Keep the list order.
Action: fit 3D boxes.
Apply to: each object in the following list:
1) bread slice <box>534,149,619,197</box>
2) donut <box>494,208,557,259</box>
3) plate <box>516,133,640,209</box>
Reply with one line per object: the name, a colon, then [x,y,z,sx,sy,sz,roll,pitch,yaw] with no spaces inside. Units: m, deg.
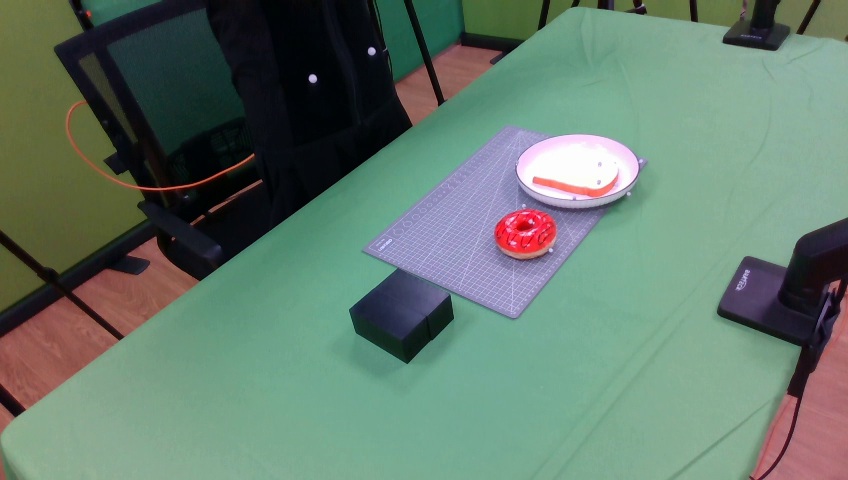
bread slice: [0.274,-0.119,1.058,0.130,0.019,0.105,19,48,31]
donut: [0.159,-0.011,0.945,0.099,0.048,0.098,-7,41,6]
plate: [0.266,-0.117,1.054,0.209,0.038,0.208,-5,40,5]
